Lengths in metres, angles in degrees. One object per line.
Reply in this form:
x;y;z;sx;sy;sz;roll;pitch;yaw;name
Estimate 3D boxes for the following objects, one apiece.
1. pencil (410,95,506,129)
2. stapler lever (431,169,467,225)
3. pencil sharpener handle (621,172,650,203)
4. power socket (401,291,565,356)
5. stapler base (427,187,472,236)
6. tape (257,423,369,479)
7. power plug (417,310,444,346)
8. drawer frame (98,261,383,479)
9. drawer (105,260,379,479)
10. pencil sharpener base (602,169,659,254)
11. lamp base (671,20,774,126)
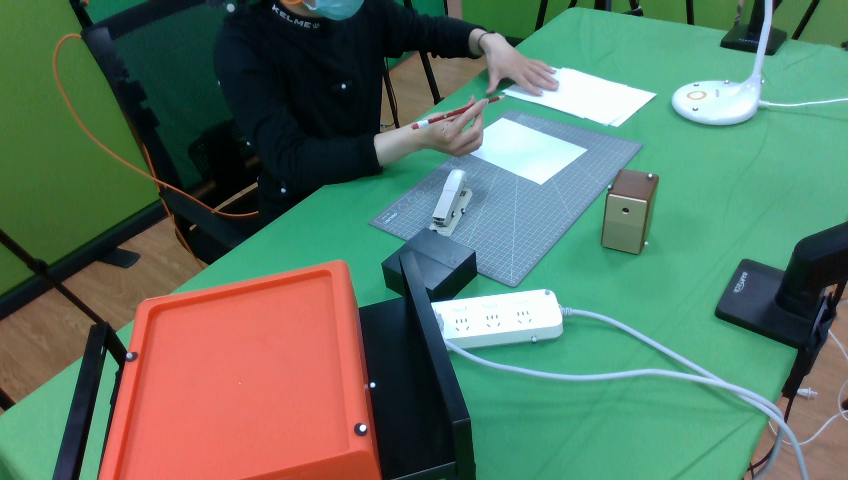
0.062;-0.223;1.042;0.195;0.012;0.012;-23;43;-22;pencil
0.043;-0.074;1.010;0.026;0.040;0.118;9;44;21;stapler lever
0.328;-0.086;0.941;0.036;0.068;0.030;30;49;7;pencil sharpener handle
0.080;0.112;0.822;0.227;0.033;0.072;-6;41;0;power socket
0.045;-0.057;1.028;0.041;0.024;0.130;9;44;20;stapler base
-0.121;0.262;0.660;0.117;0.053;0.116;-4;40;4;tape
0.006;0.122;0.785;0.035;0.053;0.072;-1;40;8;power plug
-0.148;0.129;0.520;0.202;0.083;0.212;-12;41;-6;drawer frame
-0.150;0.127;0.525;0.195;0.073;0.210;-11;41;-5;drawer
0.312;-0.044;0.914;0.061;0.107;0.077;14;45;24;pencil sharpener base
0.581;-0.332;1.154;0.179;0.181;0.160;2;41;7;lamp base
